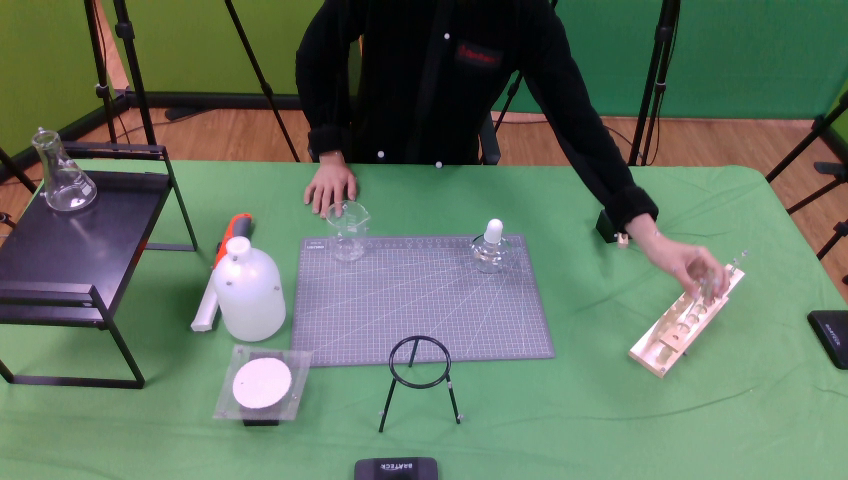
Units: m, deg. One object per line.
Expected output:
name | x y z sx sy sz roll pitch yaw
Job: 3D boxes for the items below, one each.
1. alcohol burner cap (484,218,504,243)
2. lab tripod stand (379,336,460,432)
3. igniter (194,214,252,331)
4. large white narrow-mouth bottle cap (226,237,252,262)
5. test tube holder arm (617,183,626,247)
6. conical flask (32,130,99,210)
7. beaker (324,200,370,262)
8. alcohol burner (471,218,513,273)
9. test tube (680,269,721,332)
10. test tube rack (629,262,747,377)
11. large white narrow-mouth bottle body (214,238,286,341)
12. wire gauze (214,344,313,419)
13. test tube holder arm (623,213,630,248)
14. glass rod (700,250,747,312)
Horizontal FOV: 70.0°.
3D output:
alcohol burner cap | 0.130 -0.021 1.106 0.034 0.048 0.033 3 52 -4
lab tripod stand | -0.011 0.214 0.911 0.148 0.132 0.147 1 45 0
igniter | -0.367 0.050 1.119 0.057 0.025 0.275 -4 46 7
large white narrow-mouth bottle cap | -0.282 0.015 0.923 0.038 0.024 0.037 2 46 -2
test tube holder arm | 0.394 -0.053 1.211 0.013 0.015 0.177 15 47 -2
conical flask | -0.565 -0.111 0.944 0.075 0.122 0.075 2 46 -2
beaker | -0.143 -0.015 1.142 0.084 0.101 0.073 1 47 -4
alcohol burner | 0.128 0.005 1.132 0.078 0.120 0.077 0 47 0
test tube | 0.428 0.100 0.942 0.017 0.151 0.017 0 46 0
test tube rack | 0.464 0.126 1.060 0.242 0.085 0.066 -34 56 -31
large white narrow-mouth bottle body | -0.285 0.073 0.986 0.102 0.195 0.101 2 46 -2
wire gauze | -0.241 0.213 0.915 0.121 0.011 0.124 5 46 1
test tube holder arm | 0.392 -0.020 1.180 0.010 0.015 0.087 16 47 -2
glass rod | 0.500 0.075 1.021 0.008 0.201 0.008 0 54 1
